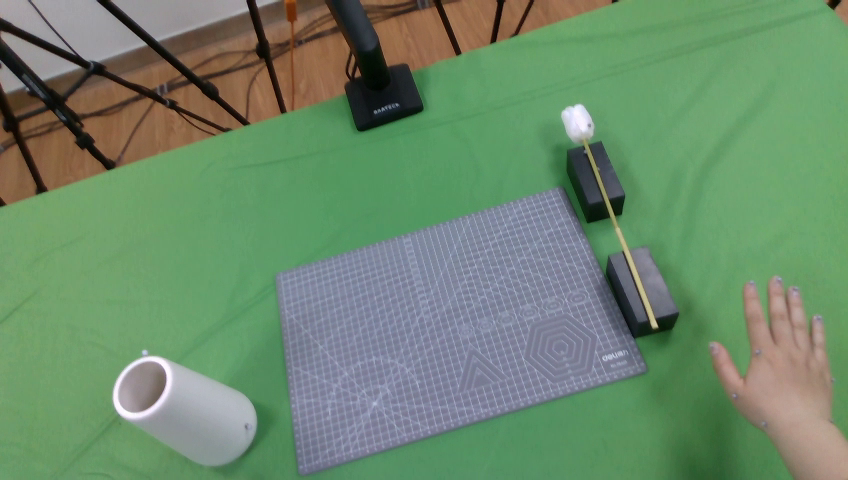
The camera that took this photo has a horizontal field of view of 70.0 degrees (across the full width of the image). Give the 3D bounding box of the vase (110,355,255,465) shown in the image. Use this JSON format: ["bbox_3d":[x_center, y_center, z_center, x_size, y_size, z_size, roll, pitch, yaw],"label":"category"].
[{"bbox_3d":[-0.278,0.201,0.716,0.098,0.202,0.097,-4,59,8],"label":"vase"}]

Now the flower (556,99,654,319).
[{"bbox_3d":[0.240,-0.055,0.807,0.044,0.038,0.358,5,53,-21],"label":"flower"}]
